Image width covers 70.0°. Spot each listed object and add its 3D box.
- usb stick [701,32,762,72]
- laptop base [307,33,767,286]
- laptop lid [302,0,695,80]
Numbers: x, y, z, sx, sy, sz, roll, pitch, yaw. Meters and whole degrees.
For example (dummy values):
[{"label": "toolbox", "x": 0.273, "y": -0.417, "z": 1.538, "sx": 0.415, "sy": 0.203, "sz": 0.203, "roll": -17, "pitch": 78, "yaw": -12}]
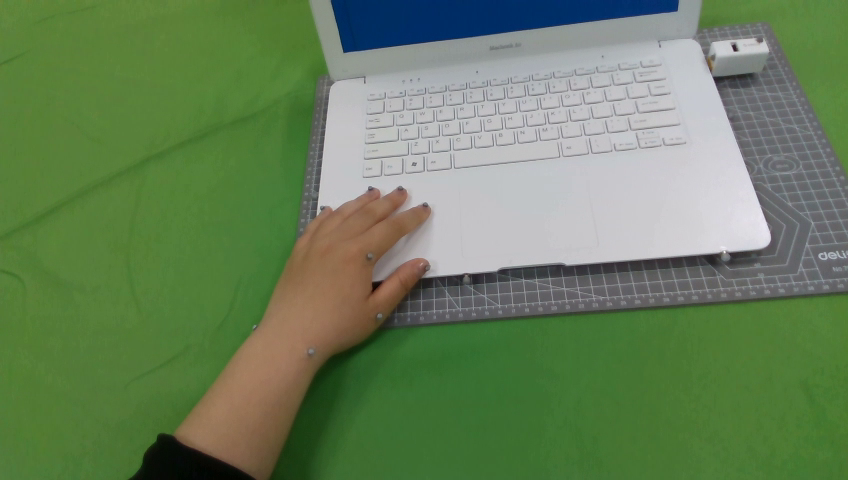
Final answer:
[{"label": "usb stick", "x": 0.266, "y": -0.167, "z": 0.540, "sx": 0.059, "sy": 0.027, "sz": 0.021, "roll": -6, "pitch": 56, "yaw": 10}, {"label": "laptop base", "x": 0.078, "y": -0.075, "z": 0.528, "sx": 0.354, "sy": 0.023, "sz": 0.233, "roll": -6, "pitch": 59, "yaw": 6}, {"label": "laptop lid", "x": 0.058, "y": -0.258, "z": 0.511, "sx": 0.356, "sy": 0.244, "sz": 0.013, "roll": -7, "pitch": 43, "yaw": 7}]
